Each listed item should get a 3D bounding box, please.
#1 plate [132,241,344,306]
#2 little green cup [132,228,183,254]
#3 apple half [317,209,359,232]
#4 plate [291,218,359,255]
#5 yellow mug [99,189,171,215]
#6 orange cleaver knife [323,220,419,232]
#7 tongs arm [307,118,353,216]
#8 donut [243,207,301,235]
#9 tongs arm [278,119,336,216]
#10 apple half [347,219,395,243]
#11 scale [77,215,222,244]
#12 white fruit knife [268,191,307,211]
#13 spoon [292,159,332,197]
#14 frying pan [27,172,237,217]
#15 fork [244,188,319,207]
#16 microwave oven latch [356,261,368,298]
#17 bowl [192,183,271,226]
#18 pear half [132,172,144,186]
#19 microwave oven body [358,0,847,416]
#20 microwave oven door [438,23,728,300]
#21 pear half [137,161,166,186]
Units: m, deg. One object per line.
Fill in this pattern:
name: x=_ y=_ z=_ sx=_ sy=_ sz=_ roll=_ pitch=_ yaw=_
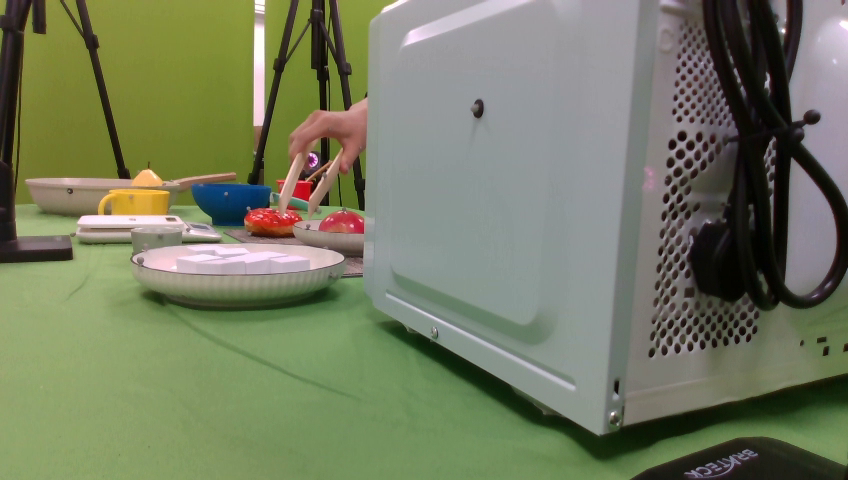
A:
plate: x=-0.187 y=0.033 z=0.625 sx=0.208 sy=0.039 sz=0.207 roll=2 pitch=8 yaw=0
little green cup: x=-0.342 y=0.006 z=0.779 sx=0.061 sy=0.038 sz=0.061 roll=2 pitch=8 yaw=0
apple half: x=-0.122 y=-0.020 z=0.900 sx=0.080 sy=0.053 sz=0.075 roll=4 pitch=11 yaw=14
plate: x=-0.098 y=-0.007 z=0.928 sx=0.209 sy=0.038 sz=0.209 roll=2 pitch=8 yaw=0
yellow mug: x=-0.519 y=-0.055 z=1.080 sx=0.099 sy=0.064 sz=0.131 roll=7 pitch=9 yaw=26
orange cleaver knife: x=-0.096 y=-0.027 z=1.152 sx=0.077 sy=0.012 sz=0.212 roll=2 pitch=7 yaw=41
tongs arm: x=-0.139 y=-0.117 z=0.858 sx=0.051 sy=0.026 sz=0.384 roll=1 pitch=24 yaw=4
donut: x=-0.262 y=-0.032 z=1.043 sx=0.099 sy=0.048 sz=0.099 roll=4 pitch=9 yaw=0
tongs arm: x=-0.162 y=-0.117 z=0.857 sx=0.028 sy=0.028 sz=0.387 roll=-4 pitch=24 yaw=1
apple half: x=-0.084 y=-0.018 z=0.967 sx=0.081 sy=0.033 sz=0.081 roll=6 pitch=10 yaw=-1
scale: x=-0.434 y=-0.019 z=0.963 sx=0.202 sy=0.031 sz=0.148 roll=-1 pitch=9 yaw=-27
white fruit knife: x=-0.364 y=-0.105 z=1.464 sx=0.208 sy=0.027 sz=0.016 roll=15 pitch=0 yaw=-34
spoon: x=-0.317 y=-0.159 z=1.640 sx=0.194 sy=0.022 sz=0.041 roll=-49 pitch=32 yaw=-20
frying pan: x=-0.624 y=-0.118 z=1.387 sx=0.305 sy=0.102 sz=0.490 roll=8 pitch=17 yaw=32
fork: x=-0.356 y=-0.105 z=1.526 sx=0.208 sy=0.018 sz=0.028 roll=16 pitch=-6 yaw=-41
microwave oven latch: x=-0.019 y=0.033 z=0.530 sx=0.079 sy=0.029 sz=0.030 roll=0 pitch=7 yaw=-26
bowl: x=-0.382 y=-0.071 z=1.202 sx=0.151 sy=0.077 sz=0.151 roll=3 pitch=7 yaw=0
pear half: x=-0.638 y=-0.113 z=1.361 sx=0.031 sy=0.088 sz=0.070 roll=5 pitch=10 yaw=4
microwave oven body: x=0.211 y=-0.047 z=0.475 sx=0.444 sy=0.260 sz=0.324 roll=-1 pitch=7 yaw=-28
microwave oven door: x=0.181 y=-0.072 z=0.621 sx=0.358 sy=0.243 sz=0.039 roll=-2 pitch=8 yaw=-29
pear half: x=-0.602 y=-0.120 z=1.354 sx=0.056 sy=0.110 sz=0.076 roll=4 pitch=11 yaw=6
